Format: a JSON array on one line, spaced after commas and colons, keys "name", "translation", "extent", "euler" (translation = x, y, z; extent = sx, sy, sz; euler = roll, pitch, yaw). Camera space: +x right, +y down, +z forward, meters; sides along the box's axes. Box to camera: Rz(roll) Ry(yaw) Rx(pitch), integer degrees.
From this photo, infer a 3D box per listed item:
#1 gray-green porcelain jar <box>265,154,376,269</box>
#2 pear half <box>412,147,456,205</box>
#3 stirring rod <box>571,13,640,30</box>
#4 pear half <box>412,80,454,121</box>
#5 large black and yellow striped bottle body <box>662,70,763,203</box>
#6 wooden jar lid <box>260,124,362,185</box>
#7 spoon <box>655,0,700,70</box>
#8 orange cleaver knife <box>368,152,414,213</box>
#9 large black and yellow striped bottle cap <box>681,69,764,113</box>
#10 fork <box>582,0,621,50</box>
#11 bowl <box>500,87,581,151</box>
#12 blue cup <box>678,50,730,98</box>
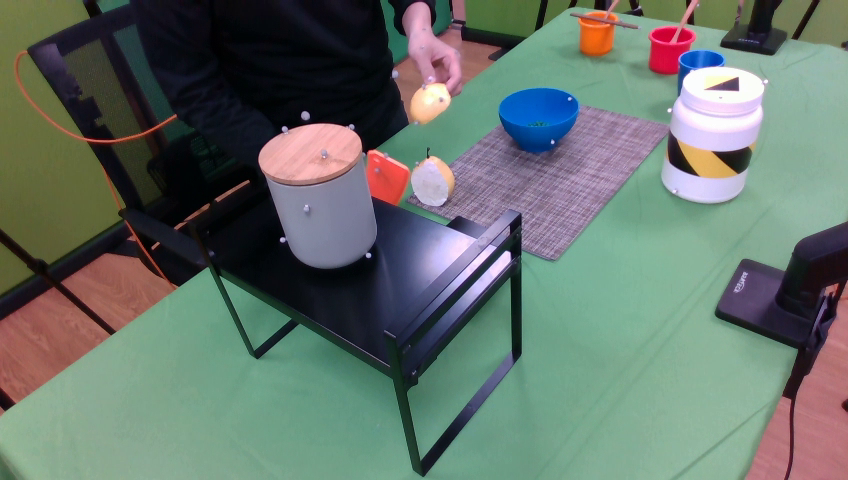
[{"name": "gray-green porcelain jar", "translation": [-0.112, -0.039, 0.685], "extent": [0.106, 0.127, 0.105], "euler": [-4, 40, 4]}, {"name": "pear half", "translation": [0.019, -0.120, 1.043], "extent": [0.076, 0.110, 0.056], "euler": [11, 44, 16]}, {"name": "stirring rod", "translation": [0.419, -0.508, 1.404], "extent": [0.174, 0.006, 0.014], "euler": [28, 54, 35]}, {"name": "pear half", "translation": [0.008, -0.221, 0.932], "extent": [0.087, 0.031, 0.070], "euler": [11, 81, 54]}, {"name": "large black and yellow striped bottle body", "translation": [0.464, -0.166, 0.976], "extent": [0.131, 0.185, 0.130], "euler": [-5, 41, 5]}, {"name": "wooden jar lid", "translation": [-0.119, -0.088, 0.644], "extent": [0.108, 0.021, 0.108], "euler": [-4, 40, 3]}, {"name": "spoon", "translation": [0.568, -0.463, 1.337], "extent": [0.041, 0.022, 0.193], "euler": [30, 97, 38]}, {"name": "orange cleaver knife", "translation": [-0.071, -0.072, 0.944], "extent": [0.077, 0.211, 0.012], "euler": [35, 60, -5]}, {"name": "large black and yellow striped bottle cap", "translation": [0.453, -0.229, 0.921], "extent": [0.115, 0.019, 0.114], "euler": [-4, 39, 4]}, {"name": "fork", "translation": [0.446, -0.539, 1.438], "extent": [0.207, 0.019, 0.028], "euler": [-57, 35, 12]}, {"name": "bowl", "translation": [0.220, -0.223, 1.156], "extent": [0.151, 0.077, 0.150], "euler": [-4, 40, 4]}, {"name": "blue cup", "translation": [0.542, -0.310, 1.194], "extent": [0.092, 0.101, 0.092], "euler": [-6, 41, 6]}]
